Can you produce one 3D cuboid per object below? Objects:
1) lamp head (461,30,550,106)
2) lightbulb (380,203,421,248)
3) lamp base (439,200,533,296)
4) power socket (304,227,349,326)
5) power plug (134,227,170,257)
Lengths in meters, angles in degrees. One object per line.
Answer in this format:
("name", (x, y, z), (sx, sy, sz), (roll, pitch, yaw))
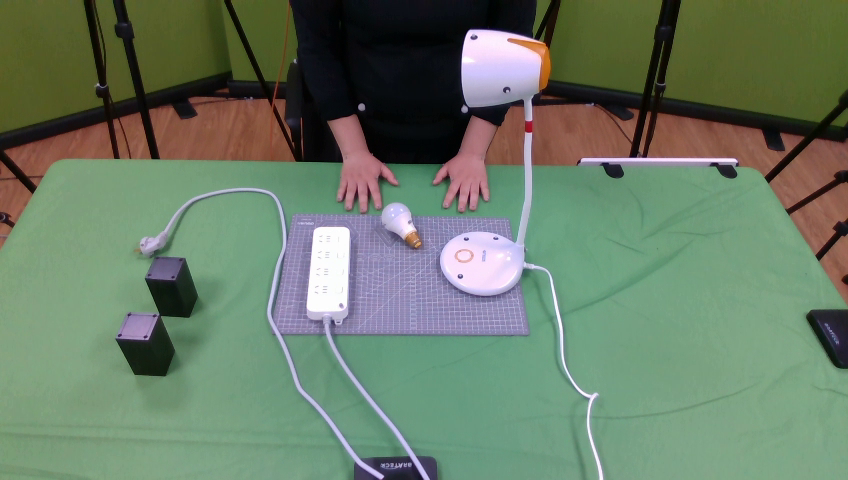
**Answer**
("lamp head", (0.122, -0.250, 0.893), (0.123, 0.113, 0.112), (8, 45, 14))
("lightbulb", (-0.043, -0.026, 1.197), (0.059, 0.060, 0.107), (-29, 69, -28))
("lamp base", (0.125, -0.011, 1.103), (0.179, 0.181, 0.159), (2, 45, -6))
("power socket", (-0.177, 0.059, 1.115), (0.072, 0.033, 0.225), (-1, 46, -4))
("power plug", (-0.515, 0.006, 1.152), (0.052, 0.035, 0.072), (-7, 23, 7))
